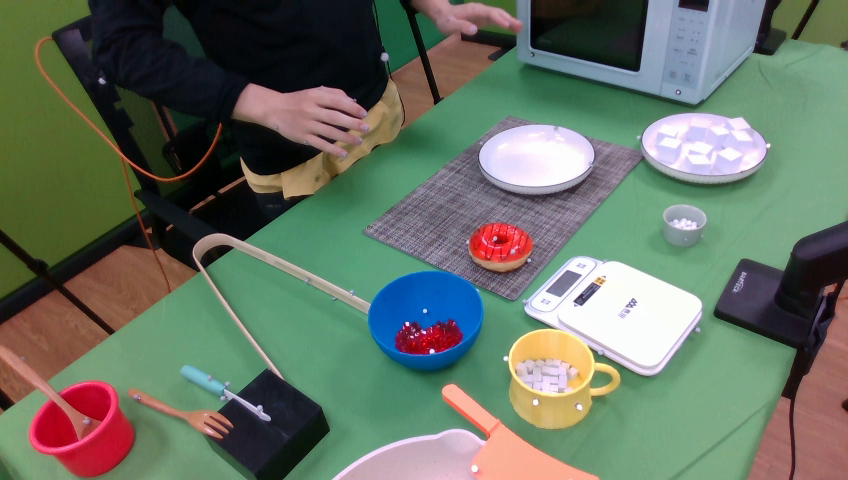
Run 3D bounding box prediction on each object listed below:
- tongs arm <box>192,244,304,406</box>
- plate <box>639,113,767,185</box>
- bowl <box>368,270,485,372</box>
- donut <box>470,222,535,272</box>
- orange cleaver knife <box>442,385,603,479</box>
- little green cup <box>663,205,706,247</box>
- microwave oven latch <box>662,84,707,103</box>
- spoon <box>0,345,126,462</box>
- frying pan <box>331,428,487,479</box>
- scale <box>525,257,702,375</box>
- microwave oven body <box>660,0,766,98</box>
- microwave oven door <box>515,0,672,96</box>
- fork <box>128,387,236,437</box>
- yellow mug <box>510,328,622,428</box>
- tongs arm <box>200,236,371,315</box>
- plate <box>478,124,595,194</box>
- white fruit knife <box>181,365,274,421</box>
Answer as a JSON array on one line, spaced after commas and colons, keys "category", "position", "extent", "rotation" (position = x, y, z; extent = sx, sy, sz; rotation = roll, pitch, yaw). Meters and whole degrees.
[{"category": "tongs arm", "position": [-0.268, 0.112, 0.884], "extent": [0.028, 0.028, 0.384], "rotation": [-37, 47, -17]}, {"category": "plate", "position": [0.489, -0.157, 1.074], "extent": [0.207, 0.039, 0.206], "rotation": [-4, 40, 4]}, {"category": "bowl", "position": [0.007, 0.118, 0.791], "extent": [0.151, 0.077, 0.150], "rotation": [-5, 39, 4]}, {"category": "donut", "position": [0.119, 0.009, 0.923], "extent": [0.099, 0.048, 0.098], "rotation": [-4, 38, 4]}, {"category": "orange cleaver knife", "position": [0.086, 0.219, 0.612], "extent": [0.209, 0.012, 0.077], "rotation": [28, 49, 35]}, {"category": "little green cup", "position": [0.396, -0.020, 0.926], "extent": [0.061, 0.039, 0.061], "rotation": [-4, 40, 4]}, {"category": "microwave oven latch", "position": [0.517, -0.296, 1.204], "extent": [0.078, 0.029, 0.030], "rotation": [27, 52, 35]}, {"category": "spoon", "position": [-0.434, 0.192, 0.720], "extent": [0.194, 0.021, 0.042], "rotation": [47, 54, -7]}, {"category": "frying pan", "position": [-0.089, 0.306, 0.564], "extent": [0.487, 0.103, 0.306], "rotation": [10, 41, 7]}, {"category": "scale", "position": [0.254, 0.091, 0.821], "extent": [0.199, 0.032, 0.149], "rotation": [28, 51, 35]}, {"category": "microwave oven body", "position": [0.472, -0.513, 1.317], "extent": [0.438, 0.261, 0.327], "rotation": [26, 51, 34]}, {"category": "microwave oven door", "position": [0.343, -0.455, 1.259], "extent": [0.353, 0.245, 0.039], "rotation": [26, 51, 33]}, {"category": "fork", "position": [-0.305, 0.207, 0.744], "extent": [0.206, 0.019, 0.028], "rotation": [3, 41, 36]}, {"category": "yellow mug", "position": [0.168, 0.164, 0.722], "extent": [0.130, 0.064, 0.099], "rotation": [0, 40, 8]}, {"category": "tongs arm", "position": [-0.209, 0.062, 0.924], "extent": [0.381, 0.027, 0.051], "rotation": [23, 54, 32]}, {"category": "plate", "position": [0.202, -0.142, 1.093], "extent": [0.209, 0.038, 0.208], "rotation": [-4, 40, 4]}, {"category": "white fruit knife", "position": [-0.245, 0.187, 0.747], "extent": [0.205, 0.027, 0.016], "rotation": [9, 41, 40]}]
